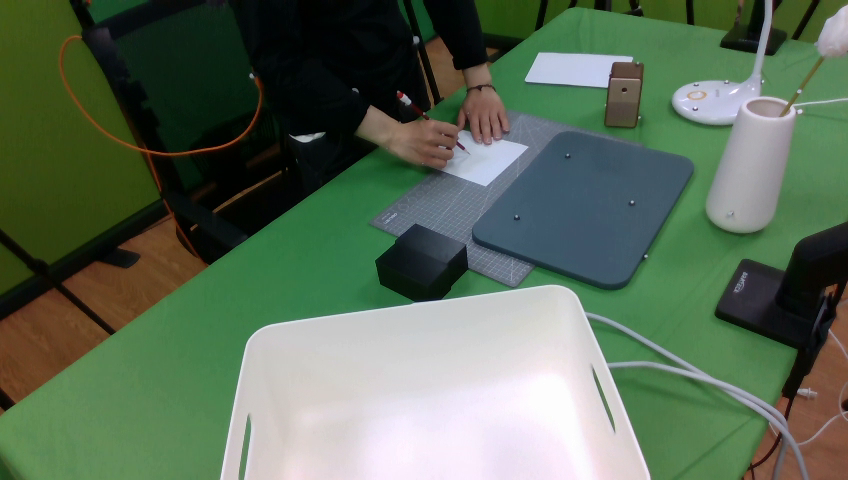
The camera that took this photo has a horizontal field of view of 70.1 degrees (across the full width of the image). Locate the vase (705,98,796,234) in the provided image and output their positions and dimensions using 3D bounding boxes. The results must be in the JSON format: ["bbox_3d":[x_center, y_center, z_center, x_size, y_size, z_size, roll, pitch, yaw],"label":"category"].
[{"bbox_3d":[0.480,-0.104,0.889,0.098,0.201,0.097,-4,42,4],"label":"vase"}]

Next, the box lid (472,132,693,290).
[{"bbox_3d":[0.273,-0.068,1.020,0.261,0.015,0.372,20,47,28],"label":"box lid"}]

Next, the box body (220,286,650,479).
[{"bbox_3d":[0.006,0.210,0.618,0.364,0.161,0.252,-8,40,-1],"label":"box body"}]

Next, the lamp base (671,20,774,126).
[{"bbox_3d":[0.581,-0.332,1.154,0.179,0.181,0.160,2,42,7],"label":"lamp base"}]

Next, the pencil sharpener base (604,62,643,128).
[{"bbox_3d":[0.390,-0.284,1.182,0.061,0.107,0.076,7,42,17],"label":"pencil sharpener base"}]

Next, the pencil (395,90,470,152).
[{"bbox_3d":[0.020,-0.214,1.111,0.012,0.196,0.012,-32,41,33],"label":"pencil"}]

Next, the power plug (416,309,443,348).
[{"bbox_3d":[0.004,0.121,0.787,0.035,0.053,0.072,2,46,8],"label":"power plug"}]

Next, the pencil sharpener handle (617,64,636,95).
[{"bbox_3d":[0.401,-0.326,1.211,0.036,0.068,0.030,16,44,8],"label":"pencil sharpener handle"}]

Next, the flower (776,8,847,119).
[{"bbox_3d":[0.476,-0.156,0.822,0.038,0.362,0.044,8,58,2],"label":"flower"}]

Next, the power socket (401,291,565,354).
[{"bbox_3d":[0.080,0.111,0.823,0.227,0.033,0.072,-5,41,1],"label":"power socket"}]
